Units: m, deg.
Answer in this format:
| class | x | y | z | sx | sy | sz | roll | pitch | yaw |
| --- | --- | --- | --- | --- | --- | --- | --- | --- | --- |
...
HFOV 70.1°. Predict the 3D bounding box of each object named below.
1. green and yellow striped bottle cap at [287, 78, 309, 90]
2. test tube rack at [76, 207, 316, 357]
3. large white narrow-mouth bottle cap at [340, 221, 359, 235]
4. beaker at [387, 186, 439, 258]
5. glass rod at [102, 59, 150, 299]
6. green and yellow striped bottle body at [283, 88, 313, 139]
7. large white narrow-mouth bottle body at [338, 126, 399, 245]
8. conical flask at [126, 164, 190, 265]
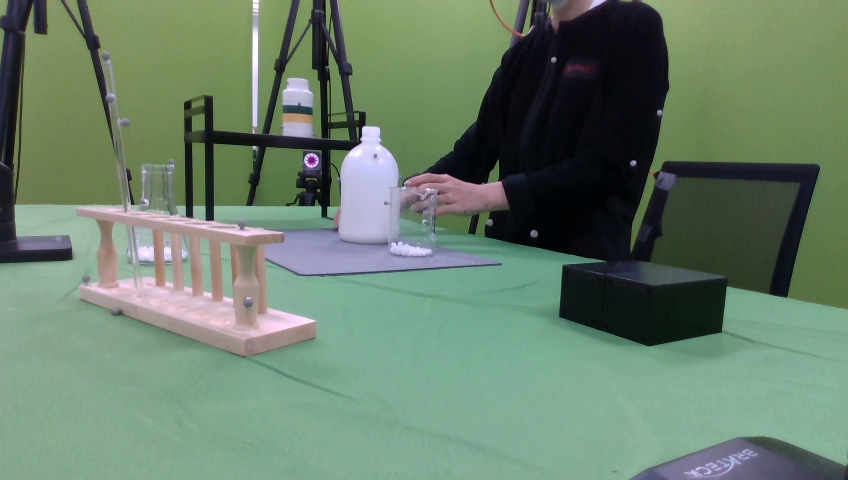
| class | x | y | z | sx | sy | sz | roll | pitch | yaw |
| --- | --- | --- | --- | --- | --- | --- | --- | --- | --- |
| green and yellow striped bottle cap | -0.265 | -0.326 | 1.268 | 0.045 | 0.020 | 0.045 | 4 | 6 | 0 |
| test tube rack | -0.196 | 0.023 | 0.500 | 0.241 | 0.085 | 0.067 | 8 | 9 | 36 |
| large white narrow-mouth bottle cap | -0.139 | -0.023 | 1.127 | 0.038 | 0.024 | 0.037 | 4 | 8 | 0 |
| beaker | -0.015 | -0.027 | 0.885 | 0.074 | 0.100 | 0.083 | -1 | 8 | -20 |
| glass rod | -0.243 | -0.045 | 0.496 | 0.008 | 0.199 | 0.008 | -4 | 12 | 1 |
| green and yellow striped bottle body | -0.266 | -0.275 | 1.275 | 0.063 | 0.119 | 0.063 | 3 | 7 | 0 |
| large white narrow-mouth bottle body | -0.091 | -0.093 | 1.015 | 0.102 | 0.194 | 0.102 | 3 | 8 | 0 |
| conical flask | -0.332 | -0.033 | 0.756 | 0.075 | 0.122 | 0.075 | 2 | 7 | 0 |
